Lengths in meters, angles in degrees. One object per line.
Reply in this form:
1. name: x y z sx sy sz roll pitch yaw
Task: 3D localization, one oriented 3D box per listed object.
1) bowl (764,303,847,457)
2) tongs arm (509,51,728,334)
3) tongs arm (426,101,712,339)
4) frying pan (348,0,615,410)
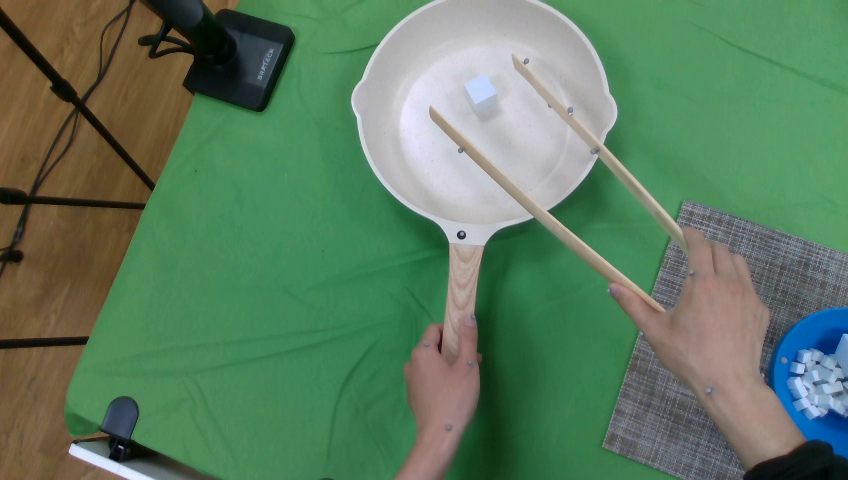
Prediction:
1. bowl: 0.422 0.144 0.629 0.151 0.077 0.150 -1 79 6
2. tongs arm: 0.176 -0.070 0.621 0.051 0.027 0.380 -30 59 -7
3. tongs arm: 0.121 -0.035 0.614 0.028 0.028 0.383 -36 60 -14
4. frying pan: 0.052 -0.055 0.695 0.306 0.103 0.485 6 72 8
